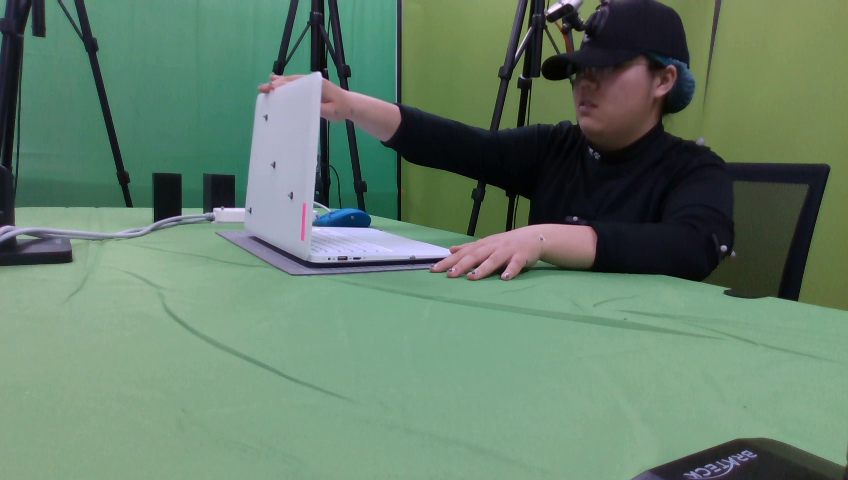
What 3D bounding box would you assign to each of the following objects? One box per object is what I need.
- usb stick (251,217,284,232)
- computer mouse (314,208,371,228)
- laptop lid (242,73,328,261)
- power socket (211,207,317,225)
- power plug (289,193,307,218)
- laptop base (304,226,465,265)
[{"bbox_3d":[-0.290,-0.028,1.119,0.059,0.027,0.021,-3,11,-29],"label":"usb stick"},{"bbox_3d":[-0.175,-0.046,1.292,0.118,0.041,0.062,-6,12,-34],"label":"computer mouse"},{"bbox_3d":[-0.215,-0.110,0.886,0.013,0.241,0.355,6,6,-29],"label":"laptop lid"},{"bbox_3d":[-0.334,-0.051,1.282,0.228,0.032,0.072,-2,9,-28],"label":"power socket"},{"bbox_3d":[-0.281,-0.076,1.341,0.035,0.052,0.072,3,6,-18],"label":"power plug"},{"bbox_3d":[-0.124,0.007,0.955,0.237,0.023,0.352,2,6,-30],"label":"laptop base"}]
